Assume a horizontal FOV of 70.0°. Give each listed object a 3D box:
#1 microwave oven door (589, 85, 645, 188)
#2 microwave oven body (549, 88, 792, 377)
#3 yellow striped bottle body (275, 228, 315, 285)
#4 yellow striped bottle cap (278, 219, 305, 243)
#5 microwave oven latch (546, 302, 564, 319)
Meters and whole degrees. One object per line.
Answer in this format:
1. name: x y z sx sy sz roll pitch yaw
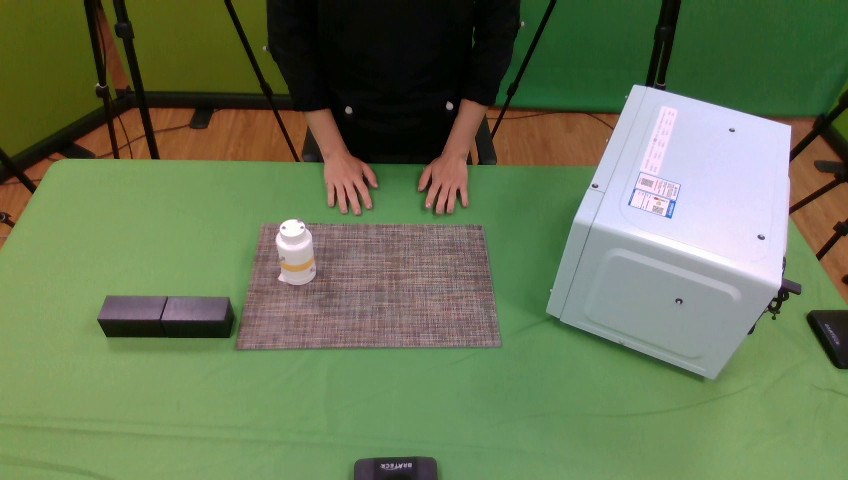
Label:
1. microwave oven door: 0.341 -0.107 1.149 0.039 0.245 0.354 20 48 15
2. microwave oven body: 0.455 -0.028 1.088 0.325 0.261 0.440 20 47 16
3. yellow striped bottle body: -0.231 0.021 1.085 0.063 0.121 0.062 2 46 -2
4. yellow striped bottle cap: -0.229 -0.016 1.047 0.044 0.019 0.044 3 44 -3
5. microwave oven latch: 0.242 0.102 1.081 0.030 0.029 0.079 21 48 17
